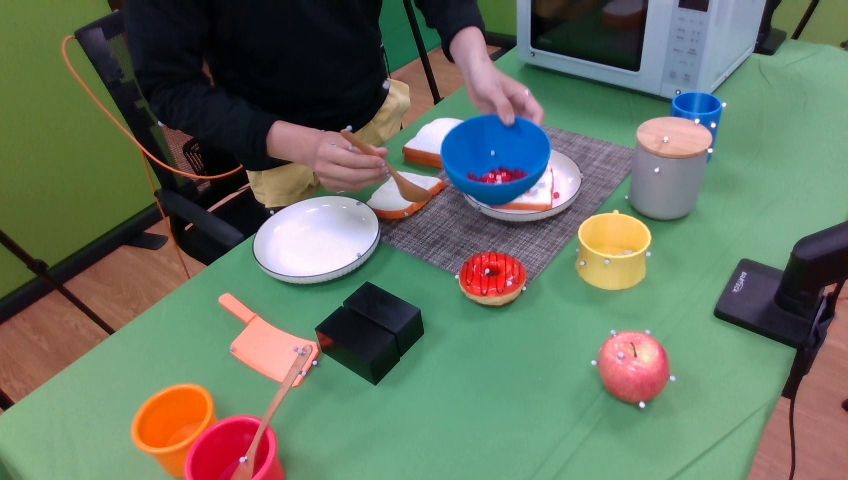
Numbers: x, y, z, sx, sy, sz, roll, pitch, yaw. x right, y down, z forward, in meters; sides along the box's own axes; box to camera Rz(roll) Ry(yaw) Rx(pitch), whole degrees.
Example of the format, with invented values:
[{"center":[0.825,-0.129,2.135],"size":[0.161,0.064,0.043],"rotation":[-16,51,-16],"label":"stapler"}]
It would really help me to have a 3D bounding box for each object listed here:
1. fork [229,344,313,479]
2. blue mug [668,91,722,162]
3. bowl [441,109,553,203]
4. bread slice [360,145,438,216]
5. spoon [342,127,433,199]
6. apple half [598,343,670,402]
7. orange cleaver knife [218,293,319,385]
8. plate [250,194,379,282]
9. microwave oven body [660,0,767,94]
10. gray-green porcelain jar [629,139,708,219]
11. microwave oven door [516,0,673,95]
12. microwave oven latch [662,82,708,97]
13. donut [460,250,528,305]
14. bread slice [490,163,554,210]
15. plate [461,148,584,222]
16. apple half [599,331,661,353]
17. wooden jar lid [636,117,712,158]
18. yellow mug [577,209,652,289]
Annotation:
[{"center":[-0.173,0.205,0.662],"size":[0.028,0.019,0.207],"rotation":[29,94,36],"label":"fork"},{"center":[0.474,-0.207,1.079],"size":[0.082,0.106,0.116],"rotation":[4,42,13],"label":"blue mug"},{"center":[0.100,-0.105,0.841],"size":[0.151,0.077,0.150],"rotation":[-3,49,3],"label":"bowl"},{"center":[-0.052,-0.103,1.046],"size":[0.106,0.018,0.134],"rotation":[19,67,23],"label":"bread slice"},{"center":[-0.049,-0.101,0.826],"size":[0.041,0.195,0.021],"rotation":[-17,54,30],"label":"spoon"},{"center":[0.247,0.161,0.710],"size":[0.081,0.075,0.053],"rotation":[2,47,5],"label":"apple half"},{"center":[-0.235,0.136,0.850],"size":[0.209,0.012,0.077],"rotation":[25,56,30],"label":"orange cleaver knife"},{"center":[-0.174,0.000,0.984],"size":[0.209,0.038,0.208],"rotation":[-3,40,3],"label":"plate"},{"center":[0.474,-0.517,1.313],"size":[0.438,0.261,0.327],"rotation":[26,51,34],"label":"microwave oven body"},{"center":[0.383,-0.104,0.958],"size":[0.106,0.127,0.105],"rotation":[-4,41,4],"label":"gray-green porcelain jar"},{"center":[0.344,-0.458,1.256],"size":[0.353,0.245,0.039],"rotation":[26,51,33],"label":"microwave oven door"},{"center":[0.517,-0.298,1.203],"size":[0.078,0.029,0.030],"rotation":[28,53,35],"label":"microwave oven latch"},{"center":[0.101,0.053,0.873],"size":[0.099,0.048,0.098],"rotation":[-5,40,5],"label":"donut"},{"center":[0.173,-0.099,1.047],"size":[0.104,0.019,0.131],"rotation":[4,43,12],"label":"bread slice"},{"center":[0.168,-0.095,1.040],"size":[0.207,0.039,0.206],"rotation":[-4,40,4],"label":"plate"},{"center":[0.249,0.134,0.738],"size":[0.081,0.081,0.032],"rotation":[-1,46,7],"label":"apple half"},{"center":[0.377,-0.151,0.917],"size":[0.108,0.021,0.108],"rotation":[-2,41,2],"label":"wooden jar lid"},{"center":[0.280,0.004,0.893],"size":[0.099,0.064,0.130],"rotation":[5,41,15],"label":"yellow mug"}]
